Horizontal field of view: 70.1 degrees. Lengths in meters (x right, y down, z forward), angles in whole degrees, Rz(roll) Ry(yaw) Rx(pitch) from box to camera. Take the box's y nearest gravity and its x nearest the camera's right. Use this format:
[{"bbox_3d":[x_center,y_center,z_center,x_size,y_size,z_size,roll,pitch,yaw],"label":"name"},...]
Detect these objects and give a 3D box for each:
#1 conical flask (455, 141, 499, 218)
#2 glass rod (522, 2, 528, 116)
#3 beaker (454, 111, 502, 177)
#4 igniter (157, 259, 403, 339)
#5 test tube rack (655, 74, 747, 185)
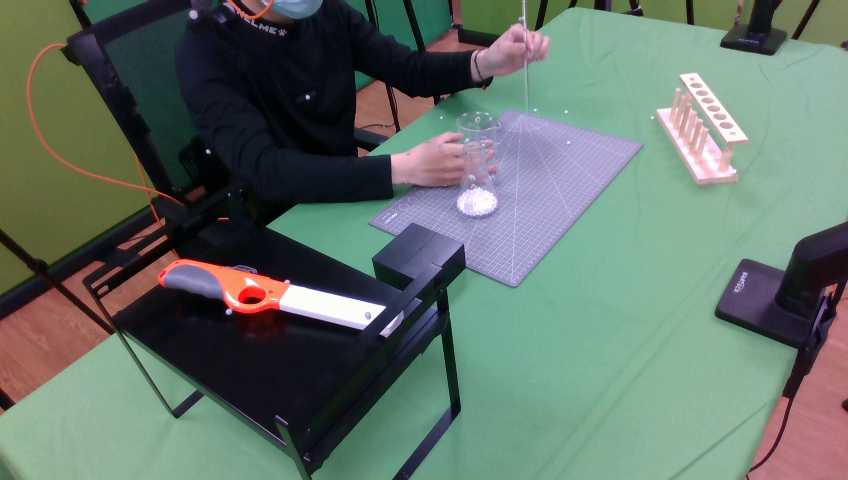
[{"bbox_3d":[0.085,-0.103,0.999,0.075,0.122,0.075,-4,41,4],"label":"conical flask"},{"bbox_3d":[0.181,-0.326,1.091,0.008,0.199,0.008,-3,7,1],"label":"glass rod"},{"bbox_3d":[0.097,-0.171,1.092,0.084,0.100,0.074,8,39,12],"label":"beaker"},{"bbox_3d":[-0.157,0.059,0.638,0.275,0.025,0.057,11,43,14],"label":"igniter"},{"bbox_3d":[0.491,-0.205,1.092,0.067,0.085,0.241,-5,40,3],"label":"test tube rack"}]
